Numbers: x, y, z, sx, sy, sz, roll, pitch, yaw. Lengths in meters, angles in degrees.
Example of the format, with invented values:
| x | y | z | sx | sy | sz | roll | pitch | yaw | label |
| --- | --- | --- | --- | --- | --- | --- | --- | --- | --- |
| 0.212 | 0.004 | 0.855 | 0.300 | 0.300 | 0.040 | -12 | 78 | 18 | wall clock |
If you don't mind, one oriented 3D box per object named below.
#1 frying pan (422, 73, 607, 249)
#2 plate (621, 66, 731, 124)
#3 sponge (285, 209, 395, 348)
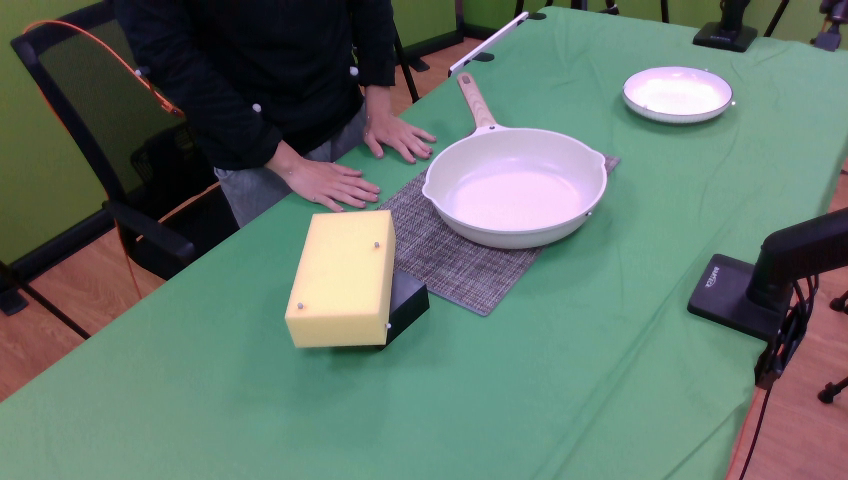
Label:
| x | y | z | sx | sy | sz | roll | pitch | yaw | label |
| --- | --- | --- | --- | --- | --- | --- | --- | --- | --- |
| 0.130 | -0.161 | 1.069 | 0.307 | 0.103 | 0.484 | -10 | 49 | -5 | frying pan |
| 0.503 | -0.288 | 1.221 | 0.207 | 0.039 | 0.206 | -4 | 41 | 4 | plate |
| -0.107 | 0.047 | 0.823 | 0.118 | 0.061 | 0.206 | -3 | 41 | 4 | sponge |
